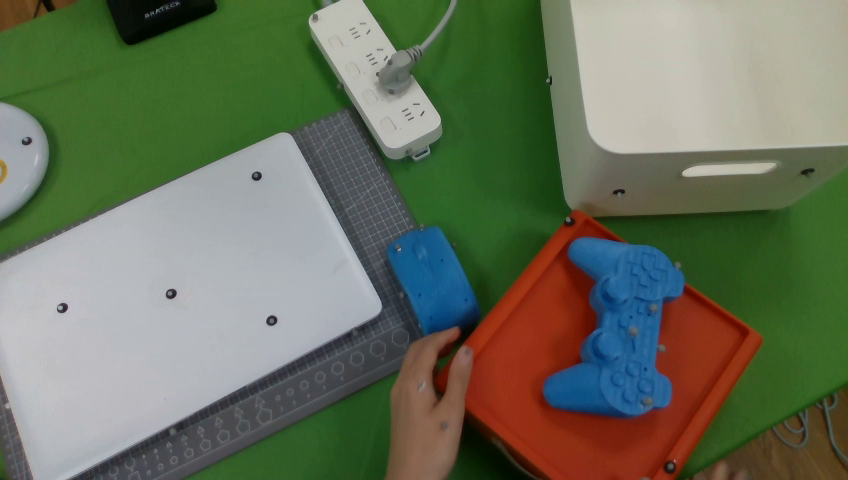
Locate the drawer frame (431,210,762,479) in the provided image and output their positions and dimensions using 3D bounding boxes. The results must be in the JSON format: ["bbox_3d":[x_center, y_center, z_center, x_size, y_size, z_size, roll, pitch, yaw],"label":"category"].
[{"bbox_3d":[0.148,0.116,0.547,0.200,0.083,0.213,37,74,15],"label":"drawer frame"}]

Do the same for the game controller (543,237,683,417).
[{"bbox_3d":[0.162,0.072,0.509,0.097,0.052,0.154,14,71,4],"label":"game controller"}]

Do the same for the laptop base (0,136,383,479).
[{"bbox_3d":[-0.247,0.058,0.614,0.354,0.023,0.234,-28,74,-9],"label":"laptop base"}]

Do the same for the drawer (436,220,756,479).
[{"bbox_3d":[0.150,0.119,0.546,0.193,0.074,0.211,38,75,15],"label":"drawer"}]

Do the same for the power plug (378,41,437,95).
[{"bbox_3d":[-0.015,-0.182,0.667,0.072,0.053,0.035,-17,68,-6],"label":"power plug"}]

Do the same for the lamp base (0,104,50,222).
[{"bbox_3d":[-0.512,-0.114,0.602,0.178,0.181,0.160,21,70,13],"label":"lamp base"}]

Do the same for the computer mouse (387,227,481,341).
[{"bbox_3d":[0.008,0.040,0.601,0.063,0.041,0.116,-23,66,-5],"label":"computer mouse"}]

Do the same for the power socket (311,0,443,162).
[{"bbox_3d":[-0.056,-0.186,0.694,0.072,0.033,0.225,-28,71,-10],"label":"power socket"}]

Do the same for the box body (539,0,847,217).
[{"bbox_3d":[0.260,-0.212,0.625,0.254,0.161,0.361,-3,69,1],"label":"box body"}]

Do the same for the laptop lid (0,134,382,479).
[{"bbox_3d":[-0.246,0.056,0.602,0.357,0.013,0.240,-26,73,-8],"label":"laptop lid"}]
